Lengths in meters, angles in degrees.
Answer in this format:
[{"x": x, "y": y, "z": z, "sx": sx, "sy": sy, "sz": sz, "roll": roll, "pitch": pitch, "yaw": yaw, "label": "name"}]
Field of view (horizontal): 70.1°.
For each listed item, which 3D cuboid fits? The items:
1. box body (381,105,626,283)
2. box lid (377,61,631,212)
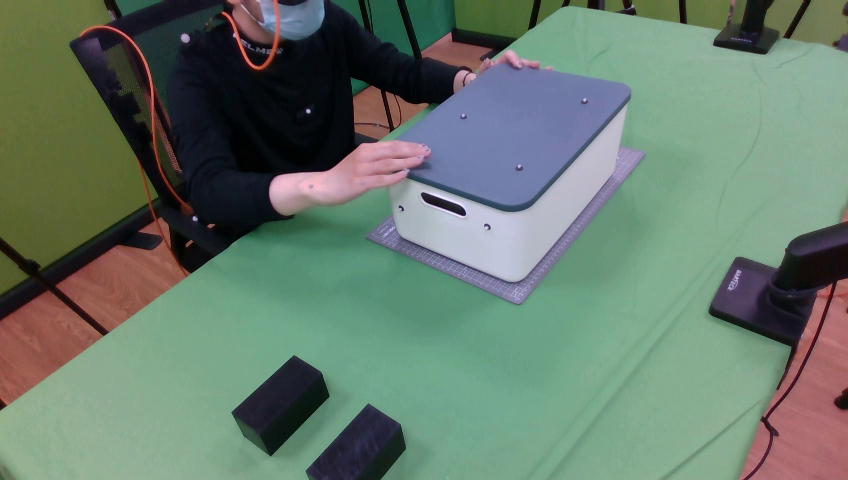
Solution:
[{"x": 0.137, "y": -0.121, "z": 0.978, "sx": 0.252, "sy": 0.161, "sz": 0.365, "roll": 22, "pitch": 49, "yaw": 30, "label": "box body"}, {"x": 0.131, "y": -0.178, "z": 0.930, "sx": 0.261, "sy": 0.015, "sz": 0.372, "roll": 22, "pitch": 49, "yaw": 30, "label": "box lid"}]
